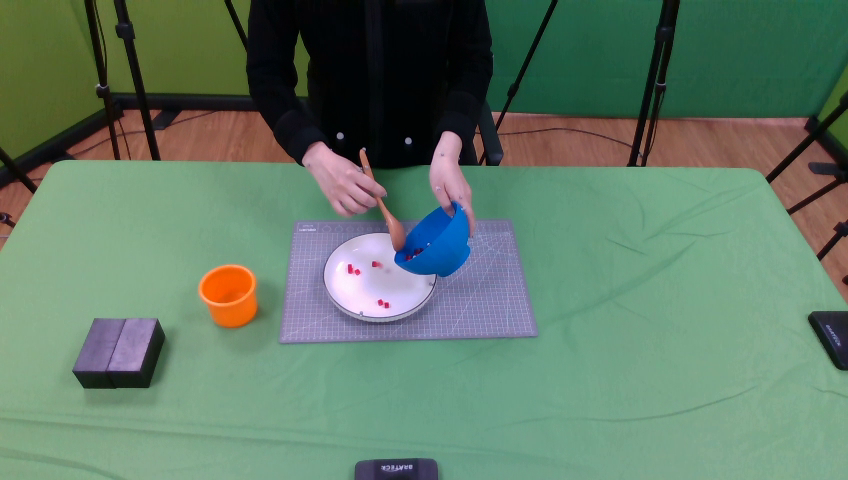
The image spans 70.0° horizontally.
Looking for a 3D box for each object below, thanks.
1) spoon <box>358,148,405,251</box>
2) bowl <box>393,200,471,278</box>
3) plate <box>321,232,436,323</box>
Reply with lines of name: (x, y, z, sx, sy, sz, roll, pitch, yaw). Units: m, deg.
spoon: (-0.074, -0.066, 1.032, 0.021, 0.194, 0.041, -6, 28, 41)
bowl: (0.027, 0.011, 1.041, 0.077, 0.151, 0.151, 46, 47, -16)
plate: (-0.083, 0.070, 1.109, 0.209, 0.038, 0.208, 3, 46, -2)
